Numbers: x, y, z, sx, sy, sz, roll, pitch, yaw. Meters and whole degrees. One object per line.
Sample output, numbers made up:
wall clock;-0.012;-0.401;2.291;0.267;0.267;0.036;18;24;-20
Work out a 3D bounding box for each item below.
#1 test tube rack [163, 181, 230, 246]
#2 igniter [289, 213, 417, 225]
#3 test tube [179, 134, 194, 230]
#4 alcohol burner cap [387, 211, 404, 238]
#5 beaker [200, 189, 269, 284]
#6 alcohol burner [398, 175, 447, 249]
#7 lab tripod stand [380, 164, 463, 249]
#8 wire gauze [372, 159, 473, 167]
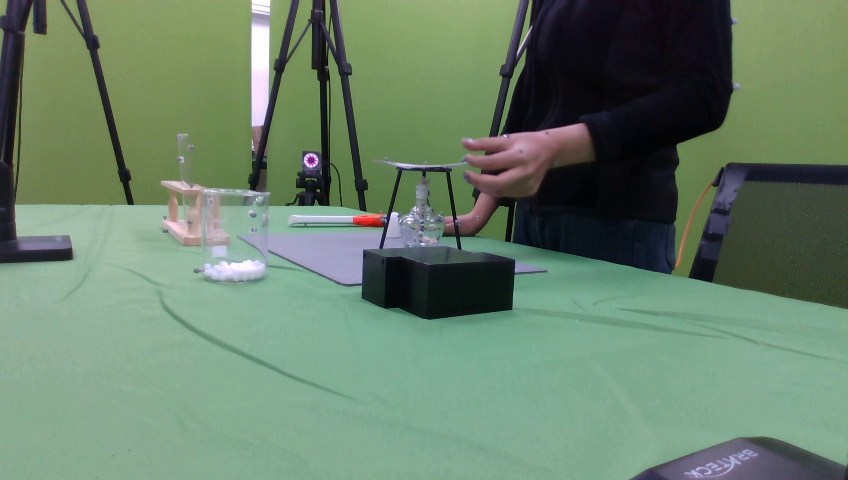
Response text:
test tube rack;-0.387;-0.050;1.015;0.067;0.085;0.241;-2;9;-30
igniter;-0.144;-0.044;1.275;0.278;0.025;0.057;-1;-2;-27
test tube;-0.366;-0.089;0.938;0.017;0.150;0.017;-1;9;1
alcohol burner cap;-0.053;-0.029;1.107;0.034;0.048;0.034;2;9;0
beaker;-0.209;-0.006;0.676;0.073;0.100;0.084;7;8;28
alcohol burner;-0.002;-0.046;0.973;0.078;0.119;0.078;0;7;0
lab tripod stand;-0.003;-0.055;0.967;0.148;0.131;0.148;2;9;0
wire gauze;-0.004;-0.122;0.959;0.122;0.011;0.124;-4;9;-33
